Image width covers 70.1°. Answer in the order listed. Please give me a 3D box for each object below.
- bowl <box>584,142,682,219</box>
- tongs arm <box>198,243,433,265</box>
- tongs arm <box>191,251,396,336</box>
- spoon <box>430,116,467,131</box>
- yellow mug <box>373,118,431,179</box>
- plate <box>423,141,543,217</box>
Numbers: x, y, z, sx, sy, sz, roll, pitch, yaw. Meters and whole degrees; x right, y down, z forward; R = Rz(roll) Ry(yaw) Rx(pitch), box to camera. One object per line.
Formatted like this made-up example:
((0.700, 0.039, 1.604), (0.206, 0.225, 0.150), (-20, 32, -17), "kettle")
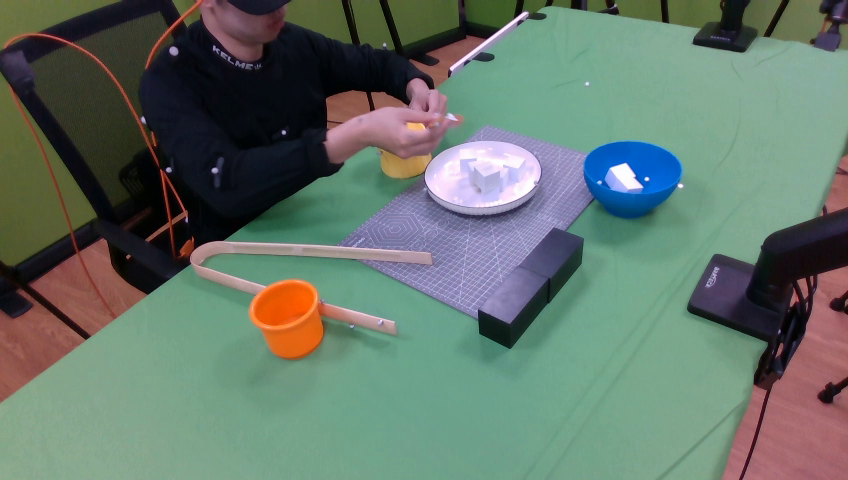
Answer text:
((0.333, -0.087, 0.980), (0.151, 0.077, 0.150), (-4, 40, 3), "bowl")
((-0.176, 0.024, 0.960), (0.386, 0.028, 0.028), (2, 45, 12), "tongs arm")
((-0.204, 0.075, 0.902), (0.382, 0.026, 0.051), (11, 44, 22), "tongs arm")
((0.035, -0.188, 0.973), (0.041, 0.021, 0.194), (-4, 10, 16), "spoon")
((-0.031, -0.182, 1.142), (0.099, 0.064, 0.131), (24, 56, 29), "yellow mug")
((0.103, -0.103, 1.059), (0.207, 0.039, 0.206), (-4, 40, 4), "plate")
